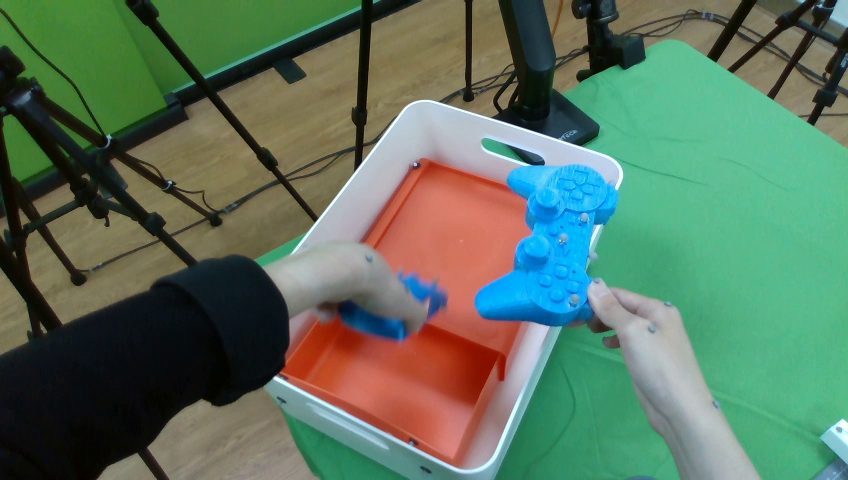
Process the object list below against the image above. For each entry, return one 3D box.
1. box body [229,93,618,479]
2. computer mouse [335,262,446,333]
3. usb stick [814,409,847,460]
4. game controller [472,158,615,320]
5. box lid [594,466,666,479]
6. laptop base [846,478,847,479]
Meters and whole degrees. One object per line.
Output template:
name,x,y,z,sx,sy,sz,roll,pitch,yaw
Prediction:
box body,0.018,0.045,0.640,0.253,0.162,0.362,22,59,17
computer mouse,-0.026,0.043,0.531,0.062,0.041,0.117,15,15,19
usb stick,0.413,0.195,0.585,0.021,0.027,0.058,-27,61,-20
game controller,0.102,-0.006,0.501,0.097,0.052,0.154,13,63,9
box lid,0.160,0.392,0.486,0.263,0.015,0.367,-17,57,-7
laptop base,0.468,0.364,0.481,0.235,0.023,0.351,-35,60,-15
